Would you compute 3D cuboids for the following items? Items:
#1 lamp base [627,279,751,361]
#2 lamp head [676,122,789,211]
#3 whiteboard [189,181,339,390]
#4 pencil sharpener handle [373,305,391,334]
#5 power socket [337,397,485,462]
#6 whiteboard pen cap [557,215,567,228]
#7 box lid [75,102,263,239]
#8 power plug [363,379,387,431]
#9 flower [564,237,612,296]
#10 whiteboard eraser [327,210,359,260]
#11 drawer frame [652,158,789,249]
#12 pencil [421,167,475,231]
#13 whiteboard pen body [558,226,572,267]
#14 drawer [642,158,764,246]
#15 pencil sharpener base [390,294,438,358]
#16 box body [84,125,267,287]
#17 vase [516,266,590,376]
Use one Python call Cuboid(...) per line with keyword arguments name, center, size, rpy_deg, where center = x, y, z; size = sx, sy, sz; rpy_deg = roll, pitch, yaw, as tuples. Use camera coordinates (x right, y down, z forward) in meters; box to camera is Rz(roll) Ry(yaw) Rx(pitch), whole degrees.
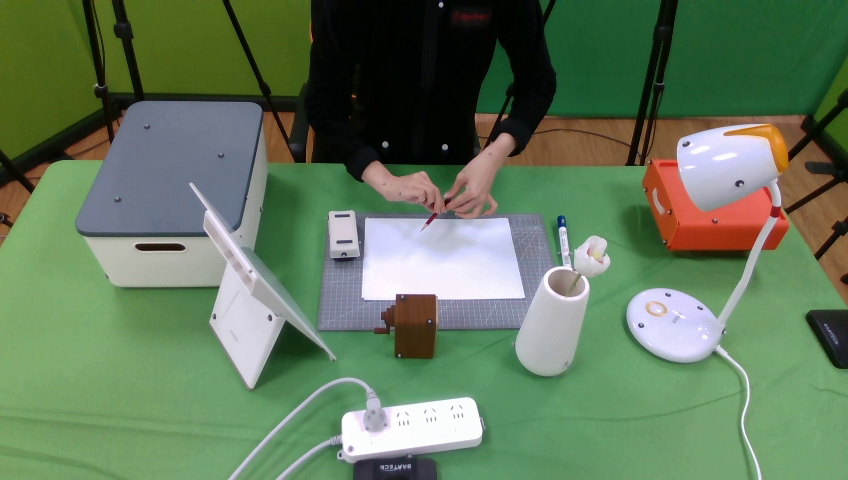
Cuboid(name="lamp base", center=(0.459, 0.100, 1.027), size=(0.178, 0.181, 0.160), rpy_deg=(27, 51, 17))
Cuboid(name="lamp head", center=(0.423, -0.104, 0.819), size=(0.122, 0.113, 0.112), rpy_deg=(-13, 33, 40))
Cuboid(name="whiteboard", center=(-0.292, 0.096, 0.929), size=(0.144, 0.307, 0.216), rpy_deg=(-37, 57, -10))
Cuboid(name="pencil sharpener handle", center=(-0.069, 0.133, 0.989), size=(0.030, 0.068, 0.036), rpy_deg=(1, 47, -2))
Cuboid(name="power socket", center=(-0.018, 0.285, 0.915), size=(0.227, 0.033, 0.071), rpy_deg=(-5, 46, -8))
Cuboid(name="whiteboard pen cap", center=(0.284, -0.035, 1.245), size=(0.018, 0.018, 0.033), rpy_deg=(4, 52, -1))
Cuboid(name="box lid", center=(-0.443, -0.138, 1.094), size=(0.263, 0.015, 0.369), rpy_deg=(-1, 47, -5))
Cuboid(name="power plug", center=(-0.072, 0.252, 0.910), size=(0.035, 0.053, 0.072), rpy_deg=(3, 45, -1))
Cuboid(name="flower", center=(0.206, 0.088, 0.893), size=(0.038, 0.363, 0.044), rpy_deg=(-17, 67, -9))
Cuboid(name="whiteboard eraser", center=(-0.158, -0.009, 1.177), size=(0.055, 0.042, 0.112), rpy_deg=(-6, 47, -7))
Cuboid(name="drawer frame", center=(0.571, -0.075, 1.214), size=(0.214, 0.083, 0.200), rpy_deg=(0, 45, -1))
Cuboid(name="pencil", center=(0.049, -0.082, 1.191), size=(0.012, 0.012, 0.193), rpy_deg=(27, 58, 20))
Cuboid(name="whiteboard pen body", center=(0.280, 0.010, 1.208), size=(0.017, 0.017, 0.140), rpy_deg=(3, 50, -1))
Cuboid(name="drawer", center=(0.565, -0.076, 1.211), size=(0.212, 0.073, 0.193), rpy_deg=(2, 45, -2))
Cuboid(name="pencil sharpener base", center=(-0.018, 0.143, 1.000), size=(0.077, 0.107, 0.061), rpy_deg=(1, 46, -2))
Cuboid(name="box body", center=(-0.446, -0.088, 1.150), size=(0.254, 0.161, 0.361), rpy_deg=(-1, 46, -5))
Cuboid(name="vase", center=(0.208, 0.132, 0.964), size=(0.098, 0.201, 0.097), rpy_deg=(3, 46, -3))
